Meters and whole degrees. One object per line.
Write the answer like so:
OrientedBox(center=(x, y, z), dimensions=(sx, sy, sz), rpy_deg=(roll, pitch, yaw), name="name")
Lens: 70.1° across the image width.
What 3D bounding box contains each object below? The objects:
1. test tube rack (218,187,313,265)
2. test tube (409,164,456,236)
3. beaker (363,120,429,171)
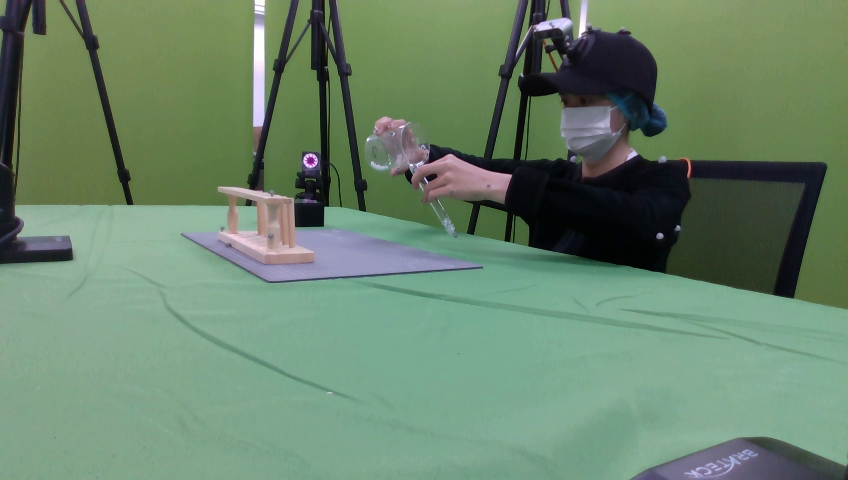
OrientedBox(center=(-0.235, -0.027, 0.872), dimensions=(0.067, 0.085, 0.241), rpy_deg=(-2, 8, -32), name="test tube rack")
OrientedBox(center=(0.013, -0.068, 1.000), dimensions=(0.017, 0.017, 0.149), rpy_deg=(-4, 55, -42), name="test tube")
OrientedBox(center=(-0.051, -0.160, 1.067), dimensions=(0.100, 0.084, 0.074), rpy_deg=(-5, -12, 42), name="beaker")
